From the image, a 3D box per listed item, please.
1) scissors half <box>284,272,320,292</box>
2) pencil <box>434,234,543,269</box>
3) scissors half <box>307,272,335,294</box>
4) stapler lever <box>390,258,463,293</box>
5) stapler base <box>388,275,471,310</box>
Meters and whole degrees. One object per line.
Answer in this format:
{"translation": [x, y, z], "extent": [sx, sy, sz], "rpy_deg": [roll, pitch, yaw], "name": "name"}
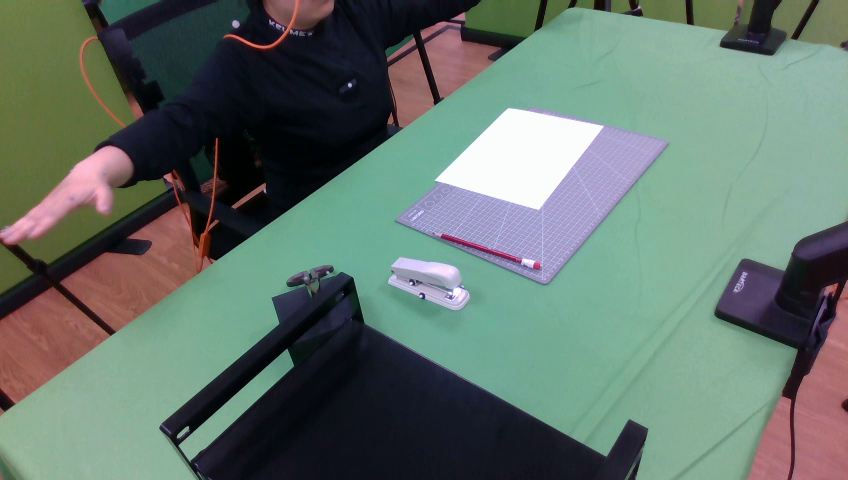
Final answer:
{"translation": [-0.171, 0.063, 0.868], "extent": [0.040, 0.013, 0.174], "rpy_deg": [-9, 7, -22], "name": "scissors half"}
{"translation": [0.096, 0.015, 0.949], "extent": [0.192, 0.012, 0.012], "rpy_deg": [18, 46, 29], "name": "pencil"}
{"translation": [-0.152, 0.062, 0.872], "extent": [0.040, 0.013, 0.175], "rpy_deg": [-2, 5, -4], "name": "scissors half"}
{"translation": [0.002, 0.046, 0.881], "extent": [0.117, 0.040, 0.027], "rpy_deg": [17, 43, 29], "name": "stapler lever"}
{"translation": [0.007, 0.066, 0.897], "extent": [0.129, 0.024, 0.041], "rpy_deg": [17, 43, 29], "name": "stapler base"}
